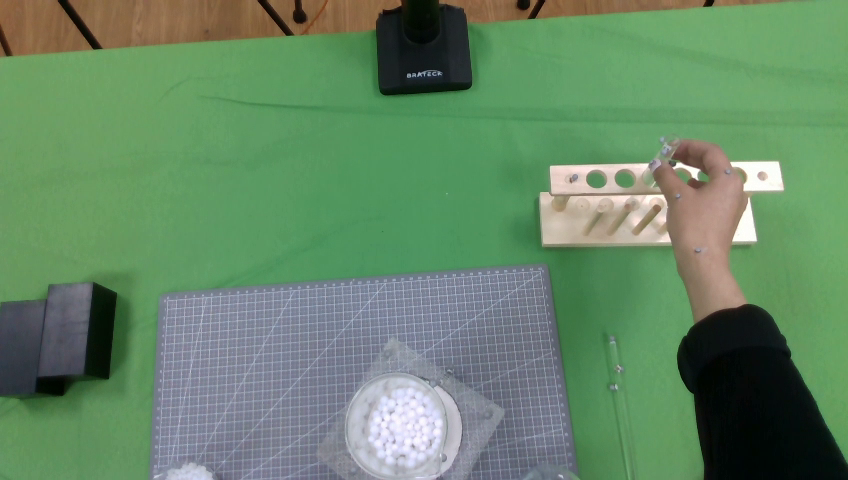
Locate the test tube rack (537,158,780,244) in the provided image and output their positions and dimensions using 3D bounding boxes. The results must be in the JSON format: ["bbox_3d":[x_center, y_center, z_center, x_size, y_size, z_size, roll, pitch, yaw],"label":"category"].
[{"bbox_3d":[0.255,-0.041,0.679,0.242,0.086,0.066,-1,72,2],"label":"test tube rack"}]

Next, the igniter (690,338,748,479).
[{"bbox_3d":[0.311,0.238,0.618,0.057,0.025,0.274,1,72,-9],"label":"igniter"}]

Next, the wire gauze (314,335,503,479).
[{"bbox_3d":[-0.013,0.164,0.523,0.124,0.011,0.121,32,79,9],"label":"wire gauze"}]

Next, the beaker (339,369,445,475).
[{"bbox_3d":[-0.018,0.147,0.479,0.074,0.101,0.083,-42,76,-10],"label":"beaker"}]

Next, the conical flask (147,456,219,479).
[{"bbox_3d":[-0.250,0.247,0.579,0.075,0.122,0.075,0,72,2],"label":"conical flask"}]

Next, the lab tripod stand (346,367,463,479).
[{"bbox_3d":[-0.013,0.183,0.587,0.148,0.132,0.147,-1,74,3],"label":"lab tripod stand"}]

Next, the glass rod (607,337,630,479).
[{"bbox_3d":[0.210,0.202,0.643,0.008,0.008,0.198,-3,75,1],"label":"glass rod"}]

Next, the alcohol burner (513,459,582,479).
[{"bbox_3d":[0.120,0.248,0.572,0.078,0.120,0.077,-1,71,4],"label":"alcohol burner"}]

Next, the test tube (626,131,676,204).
[{"bbox_3d":[0.236,-0.072,0.637,0.017,0.151,0.017,-2,71,5],"label":"test tube"}]
